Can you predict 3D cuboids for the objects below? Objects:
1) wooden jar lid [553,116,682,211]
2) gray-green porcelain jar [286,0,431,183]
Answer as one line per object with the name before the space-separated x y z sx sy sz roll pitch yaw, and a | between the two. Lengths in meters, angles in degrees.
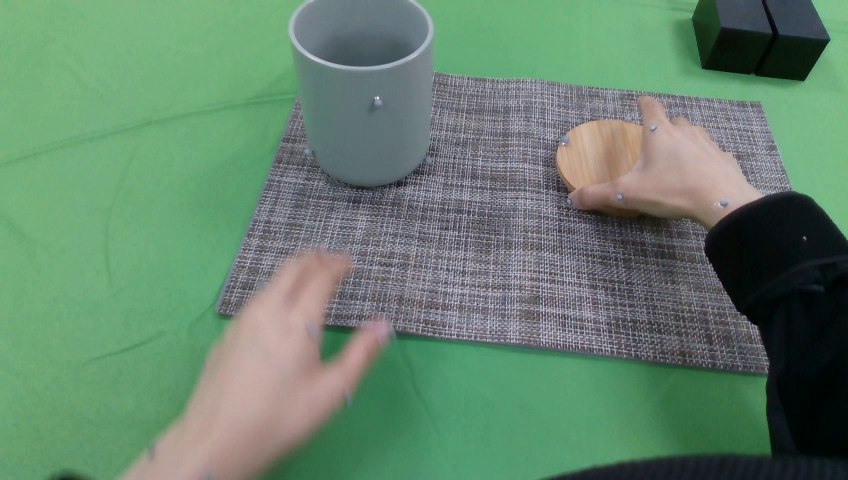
wooden jar lid | 0.164 -0.065 0.521 0.108 0.021 0.107 1 51 -1
gray-green porcelain jar | -0.049 -0.117 0.484 0.106 0.127 0.105 1 52 -1
